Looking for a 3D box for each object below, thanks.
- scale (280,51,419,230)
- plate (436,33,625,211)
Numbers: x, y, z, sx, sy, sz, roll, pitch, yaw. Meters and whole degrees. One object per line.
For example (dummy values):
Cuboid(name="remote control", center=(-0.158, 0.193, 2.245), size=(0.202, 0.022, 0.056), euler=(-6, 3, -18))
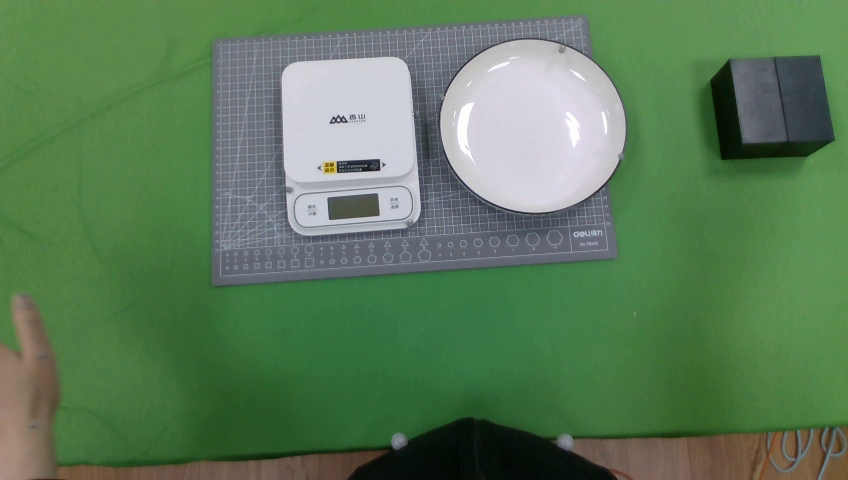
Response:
Cuboid(name="scale", center=(-0.086, -0.115, 0.684), size=(0.149, 0.031, 0.200), euler=(-4, 79, 0))
Cuboid(name="plate", center=(0.118, -0.129, 0.682), size=(0.209, 0.038, 0.208), euler=(0, 79, 0))
